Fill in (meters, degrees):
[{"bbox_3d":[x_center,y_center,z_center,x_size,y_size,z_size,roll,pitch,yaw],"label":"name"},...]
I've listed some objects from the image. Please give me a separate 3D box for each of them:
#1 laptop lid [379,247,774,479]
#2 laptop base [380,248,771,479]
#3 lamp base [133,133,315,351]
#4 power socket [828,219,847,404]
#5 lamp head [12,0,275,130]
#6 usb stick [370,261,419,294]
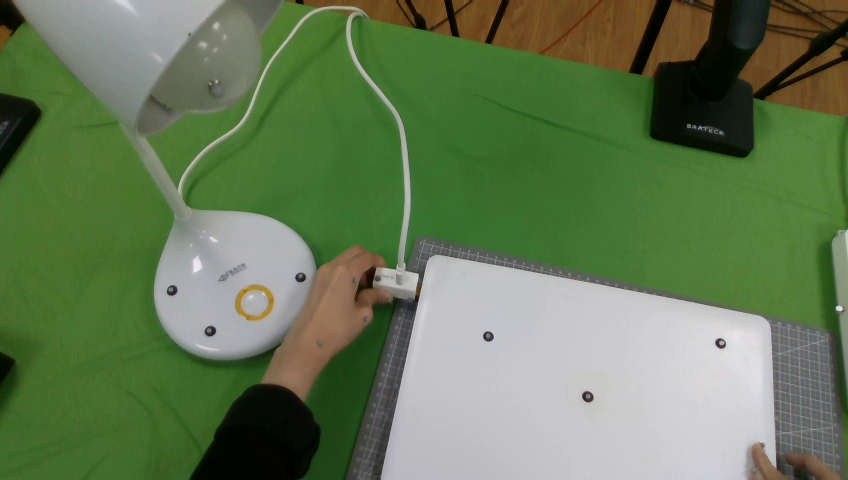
[{"bbox_3d":[0.152,0.141,0.573,0.356,0.013,0.240,12,67,3],"label":"laptop lid"},{"bbox_3d":[0.152,0.144,0.585,0.354,0.023,0.234,11,67,2],"label":"laptop base"},{"bbox_3d":[-0.200,-0.006,0.553,0.178,0.181,0.160,38,68,19],"label":"lamp base"},{"bbox_3d":[0.466,0.076,0.623,0.072,0.033,0.225,12,64,2],"label":"power socket"},{"bbox_3d":[-0.141,-0.128,0.277,0.123,0.112,0.112,39,66,-10],"label":"lamp head"},{"bbox_3d":[-0.025,0.039,0.614,0.059,0.027,0.021,10,57,-2],"label":"usb stick"}]
